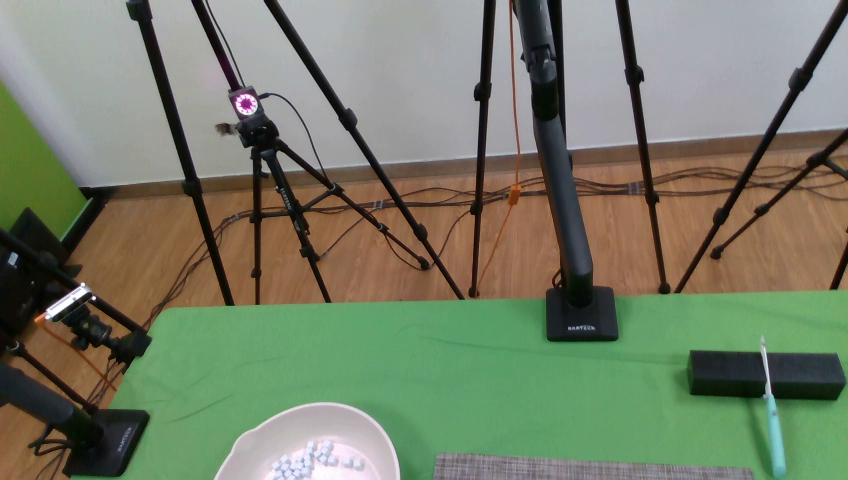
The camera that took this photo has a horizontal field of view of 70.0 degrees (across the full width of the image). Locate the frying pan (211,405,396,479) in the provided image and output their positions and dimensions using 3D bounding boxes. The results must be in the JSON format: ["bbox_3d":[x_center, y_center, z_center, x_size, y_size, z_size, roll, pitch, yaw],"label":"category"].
[{"bbox_3d":[-0.246,0.441,0.835,0.304,0.104,0.487,25,48,35],"label":"frying pan"}]

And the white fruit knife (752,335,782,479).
[{"bbox_3d":[0.488,0.233,0.869,0.016,0.028,0.205,0,59,14],"label":"white fruit knife"}]
